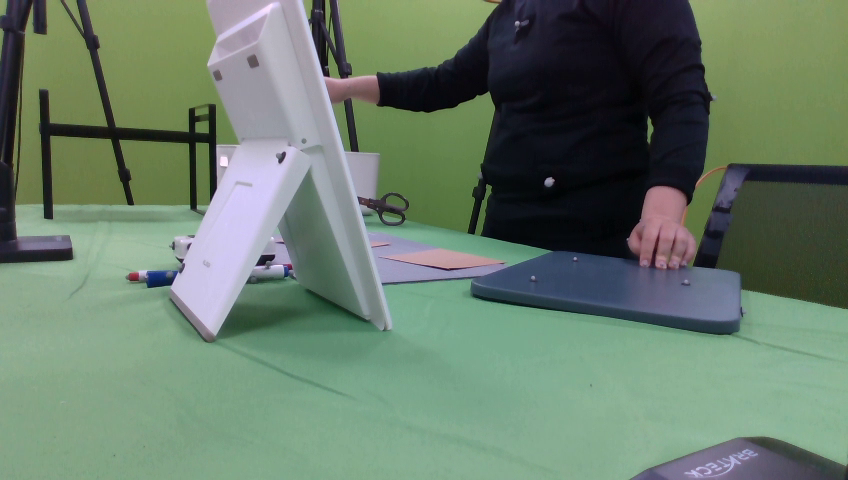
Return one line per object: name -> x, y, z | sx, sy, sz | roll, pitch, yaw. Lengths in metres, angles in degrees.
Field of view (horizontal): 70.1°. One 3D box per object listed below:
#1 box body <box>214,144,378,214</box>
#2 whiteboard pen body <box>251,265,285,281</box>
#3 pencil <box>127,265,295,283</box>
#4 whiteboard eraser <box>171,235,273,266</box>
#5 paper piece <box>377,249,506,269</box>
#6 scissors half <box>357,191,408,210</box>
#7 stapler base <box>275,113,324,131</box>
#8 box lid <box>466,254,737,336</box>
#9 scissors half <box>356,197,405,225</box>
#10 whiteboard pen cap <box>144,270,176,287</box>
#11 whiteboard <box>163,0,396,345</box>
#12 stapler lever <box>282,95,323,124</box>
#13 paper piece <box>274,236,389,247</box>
box body -> -0.328, -0.154, 1.543 | 0.366, 0.160, 0.253 | -2, 9, -32
whiteboard pen body -> -0.220, 0.039, 0.656 | 0.141, 0.017, 0.017 | -2, 9, -31
pencil -> -0.231, 0.037, 0.690 | 0.195, 0.012, 0.012 | -2, 9, -34
whiteboard eraser -> -0.248, 0.014, 0.747 | 0.113, 0.042, 0.055 | -1, 10, -32
paper piece -> 0.025, 0.027, 0.865 | 0.134, 0.004, 0.136 | 9, 9, 43
scissors half -> -0.122, -0.090, 1.320 | 0.175, 0.040, 0.013 | 4, 2, -5
stapler base -> -0.291, -0.284, 1.425 | 0.041, 0.024, 0.131 | 23, 7, 34
box lid -> 0.233, 0.055, 0.735 | 0.262, 0.015, 0.373 | 7, 7, 27
scissors half -> -0.126, -0.070, 1.320 | 0.175, 0.040, 0.013 | 21, -5, -4
whiteboard pen cap -> -0.271, 0.039, 0.627 | 0.033, 0.018, 0.018 | -3, 10, -32
whiteboard -> -0.173, -0.053, 0.511 | 0.144, 0.305, 0.216 | -23, 19, -26
stapler lever -> -0.283, -0.308, 1.425 | 0.026, 0.040, 0.119 | 23, 7, 34
paper piece -> -0.151, 0.003, 0.978 | 0.135, 0.008, 0.139 | 13, 10, 35
